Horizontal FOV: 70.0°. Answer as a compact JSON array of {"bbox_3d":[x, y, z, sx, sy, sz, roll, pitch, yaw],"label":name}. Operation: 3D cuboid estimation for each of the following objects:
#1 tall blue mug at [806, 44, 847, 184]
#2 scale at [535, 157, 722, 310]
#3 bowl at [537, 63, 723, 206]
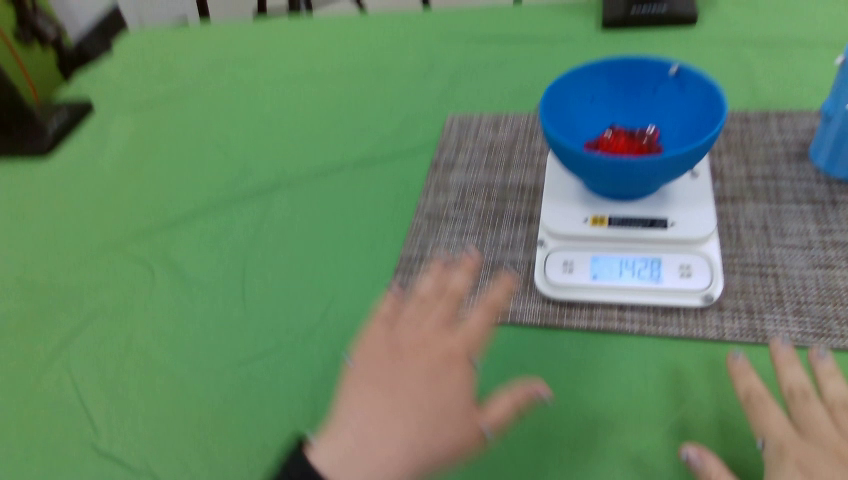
[{"bbox_3d":[0.400,-0.103,0.524,0.078,0.109,0.106,-20,44,-8],"label":"tall blue mug"},{"bbox_3d":[0.182,-0.024,0.551,0.148,0.032,0.199,2,46,15],"label":"scale"},{"bbox_3d":[0.176,-0.084,0.536,0.151,0.077,0.150,-6,45,6],"label":"bowl"}]
